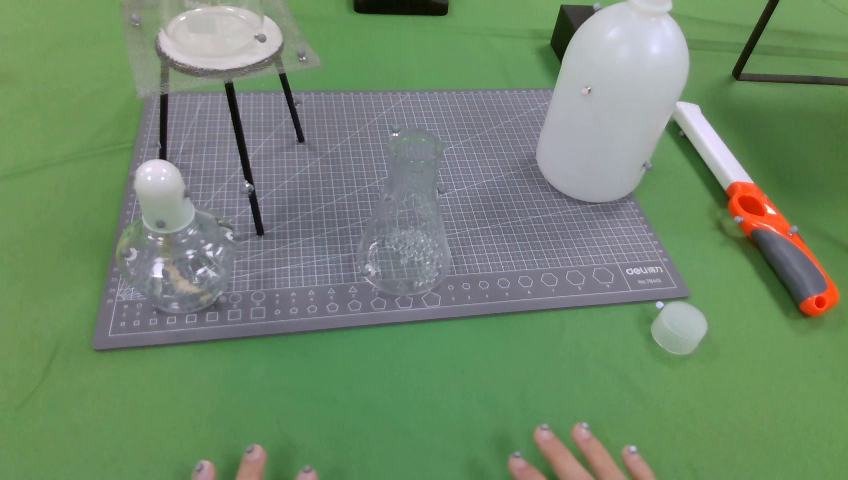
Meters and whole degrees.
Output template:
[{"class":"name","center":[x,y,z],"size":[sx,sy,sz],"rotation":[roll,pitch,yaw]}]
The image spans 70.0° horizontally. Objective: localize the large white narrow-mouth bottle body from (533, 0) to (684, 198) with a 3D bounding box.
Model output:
[{"class":"large white narrow-mouth bottle body","center":[0.161,-0.135,0.515],"size":[0.102,0.196,0.101],"rotation":[4,48,-4]}]

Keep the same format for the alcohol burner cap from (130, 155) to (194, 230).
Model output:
[{"class":"alcohol burner cap","center":[-0.166,-0.032,0.380],"size":[0.034,0.048,0.033],"rotation":[4,53,-5]}]

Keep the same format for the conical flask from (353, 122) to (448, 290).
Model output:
[{"class":"conical flask","center":[-0.013,-0.026,0.440],"size":[0.075,0.123,0.074],"rotation":[4,48,-4]}]

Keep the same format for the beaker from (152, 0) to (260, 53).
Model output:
[{"class":"beaker","center":[-0.150,-0.184,0.400],"size":[0.084,0.101,0.073],"rotation":[-9,51,-15]}]

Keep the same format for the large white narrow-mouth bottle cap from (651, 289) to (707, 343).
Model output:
[{"class":"large white narrow-mouth bottle cap","center":[0.197,0.059,0.468],"size":[0.038,0.024,0.037],"rotation":[4,48,-4]}]

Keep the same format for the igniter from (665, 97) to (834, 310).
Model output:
[{"class":"igniter","center":[0.298,-0.047,0.573],"size":[0.057,0.025,0.273],"rotation":[5,47,-18]}]

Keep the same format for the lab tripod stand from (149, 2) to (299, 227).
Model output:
[{"class":"lab tripod stand","center":[-0.154,-0.104,0.483],"size":[0.148,0.132,0.147],"rotation":[5,48,-6]}]

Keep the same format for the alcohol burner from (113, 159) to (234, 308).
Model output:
[{"class":"alcohol burner","center":[-0.170,-0.009,0.408],"size":[0.078,0.120,0.077],"rotation":[5,46,-5]}]

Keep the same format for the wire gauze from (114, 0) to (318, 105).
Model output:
[{"class":"wire gauze","center":[-0.152,-0.149,0.436],"size":[0.122,0.011,0.123],"rotation":[-16,56,-19]}]
